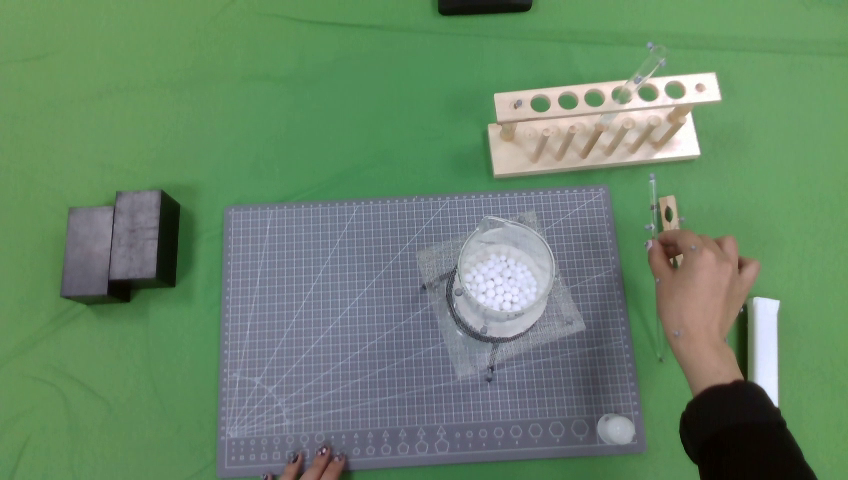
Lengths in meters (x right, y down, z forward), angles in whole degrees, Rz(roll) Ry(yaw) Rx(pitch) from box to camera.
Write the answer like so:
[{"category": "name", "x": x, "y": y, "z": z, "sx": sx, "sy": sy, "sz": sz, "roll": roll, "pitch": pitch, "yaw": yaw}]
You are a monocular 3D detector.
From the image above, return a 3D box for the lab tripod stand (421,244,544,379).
[{"category": "lab tripod stand", "x": 0.060, "y": 0.063, "z": 0.610, "sx": 0.148, "sy": 0.132, "sz": 0.147, "roll": 0, "pitch": 76, "yaw": 2}]

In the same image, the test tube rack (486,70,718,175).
[{"category": "test tube rack", "x": 0.197, "y": -0.131, "z": 0.688, "sx": 0.242, "sy": 0.085, "sz": 0.066, "roll": -6, "pitch": 75, "yaw": -1}]

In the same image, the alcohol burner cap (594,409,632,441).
[{"category": "alcohol burner cap", "x": 0.197, "y": 0.191, "z": 0.624, "sx": 0.034, "sy": 0.048, "sz": 0.033, "roll": 0, "pitch": 75, "yaw": 1}]

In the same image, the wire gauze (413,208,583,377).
[{"category": "wire gauze", "x": 0.064, "y": 0.044, "z": 0.547, "sx": 0.121, "sy": 0.011, "sz": 0.124, "roll": -20, "pitch": 77, "yaw": -1}]

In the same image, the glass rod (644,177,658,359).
[{"category": "glass rod", "x": 0.243, "y": 0.032, "z": 0.646, "sx": 0.008, "sy": 0.008, "sz": 0.200, "roll": -7, "pitch": 101, "yaw": -2}]

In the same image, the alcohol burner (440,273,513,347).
[{"category": "alcohol burner", "x": 0.055, "y": 0.068, "z": 0.619, "sx": 0.078, "sy": 0.120, "sz": 0.077, "roll": 0, "pitch": 73, "yaw": 1}]

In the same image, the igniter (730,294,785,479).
[{"category": "igniter", "x": 0.348, "y": 0.193, "z": 0.633, "sx": 0.057, "sy": 0.025, "sz": 0.275, "roll": 10, "pitch": 76, "yaw": -7}]

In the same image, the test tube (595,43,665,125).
[{"category": "test tube", "x": 0.214, "y": -0.160, "z": 0.644, "sx": 0.017, "sy": 0.151, "sz": 0.017, "roll": 2, "pitch": 74, "yaw": -5}]

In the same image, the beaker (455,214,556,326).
[{"category": "beaker", "x": 0.062, "y": 0.029, "z": 0.501, "sx": 0.074, "sy": 0.101, "sz": 0.083, "roll": -18, "pitch": 75, "yaw": -2}]

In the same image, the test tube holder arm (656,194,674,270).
[{"category": "test tube holder arm", "x": 0.277, "y": -0.009, "z": 0.691, "sx": 0.010, "sy": 0.015, "sz": 0.087, "roll": -12, "pitch": 74, "yaw": 32}]

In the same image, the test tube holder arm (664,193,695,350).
[{"category": "test tube holder arm", "x": 0.284, "y": 0.034, "z": 0.677, "sx": 0.013, "sy": 0.015, "sz": 0.177, "roll": -13, "pitch": 73, "yaw": 31}]
